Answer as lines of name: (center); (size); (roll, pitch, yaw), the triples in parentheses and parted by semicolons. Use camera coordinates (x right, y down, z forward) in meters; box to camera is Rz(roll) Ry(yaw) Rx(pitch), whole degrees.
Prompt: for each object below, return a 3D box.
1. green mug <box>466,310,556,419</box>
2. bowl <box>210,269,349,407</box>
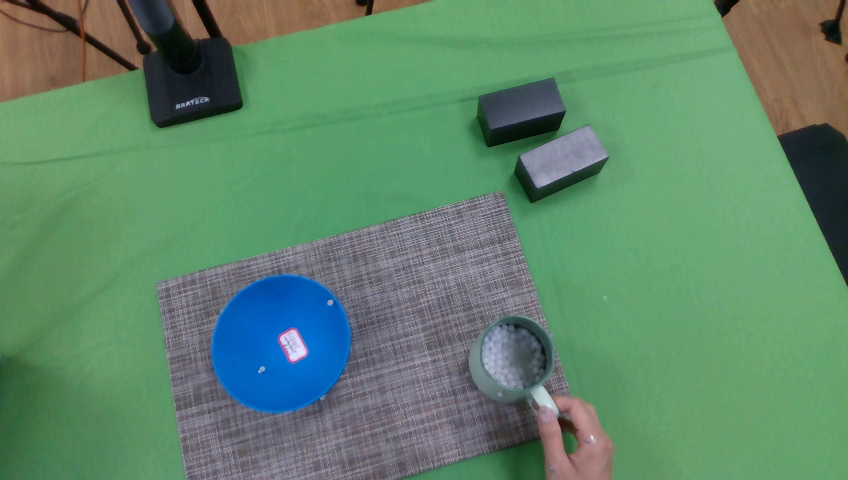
green mug: (0.103, 0.139, 0.666); (0.092, 0.105, 0.124); (-32, 76, -8)
bowl: (-0.155, 0.114, 0.690); (0.151, 0.077, 0.150); (0, 74, 1)
